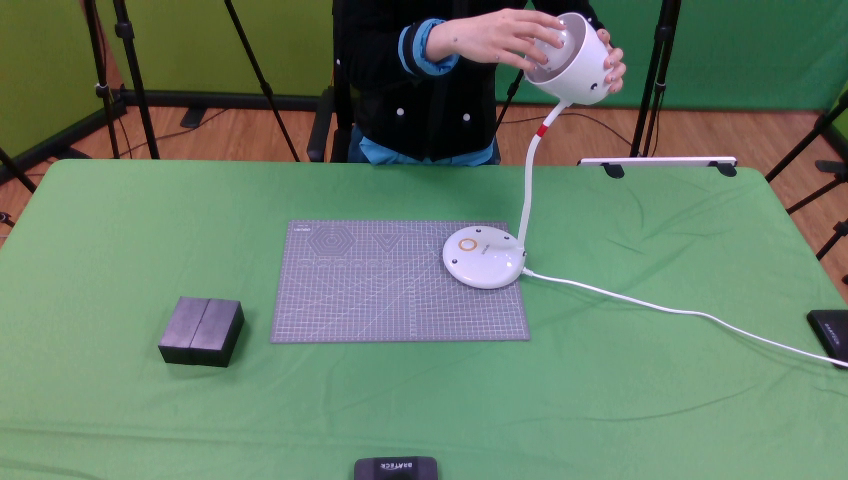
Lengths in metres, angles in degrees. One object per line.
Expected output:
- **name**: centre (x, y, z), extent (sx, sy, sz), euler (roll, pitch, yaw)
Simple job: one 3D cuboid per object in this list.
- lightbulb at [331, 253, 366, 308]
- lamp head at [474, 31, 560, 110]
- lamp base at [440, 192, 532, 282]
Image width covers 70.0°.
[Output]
- **lightbulb**: centre (-0.131, 0.074, 1.094), extent (0.059, 0.060, 0.107), euler (-15, 64, -18)
- **lamp head**: centre (0.134, -0.246, 0.883), extent (0.123, 0.113, 0.112), euler (0, 46, 4)
- **lamp base**: centre (0.128, -0.032, 1.123), extent (0.179, 0.181, 0.159), euler (11, 47, 2)
